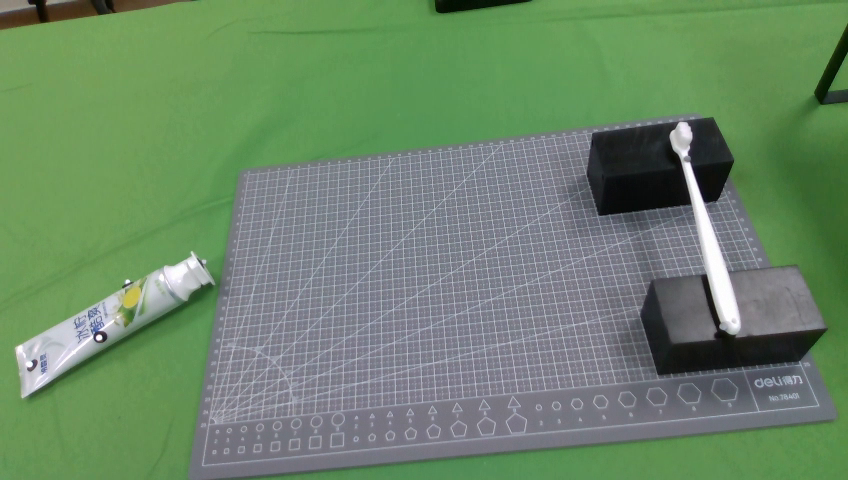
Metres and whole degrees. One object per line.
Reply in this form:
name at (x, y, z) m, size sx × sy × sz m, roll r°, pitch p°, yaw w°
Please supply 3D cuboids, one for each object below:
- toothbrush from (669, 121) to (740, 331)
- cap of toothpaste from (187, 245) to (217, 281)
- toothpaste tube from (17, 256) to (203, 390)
toothbrush at (0.202, -0.018, 0.438) m, size 0.014 × 0.017 × 0.180 m, roll 6°, pitch 56°, yaw -6°
cap of toothpaste at (-0.190, 0.021, 0.518) m, size 0.011 × 0.038 × 0.037 m, roll -35°, pitch 57°, yaw -16°
toothpaste tube at (-0.261, 0.060, 0.507) m, size 0.165 × 0.035 × 0.054 m, roll -30°, pitch 50°, yaw -9°
